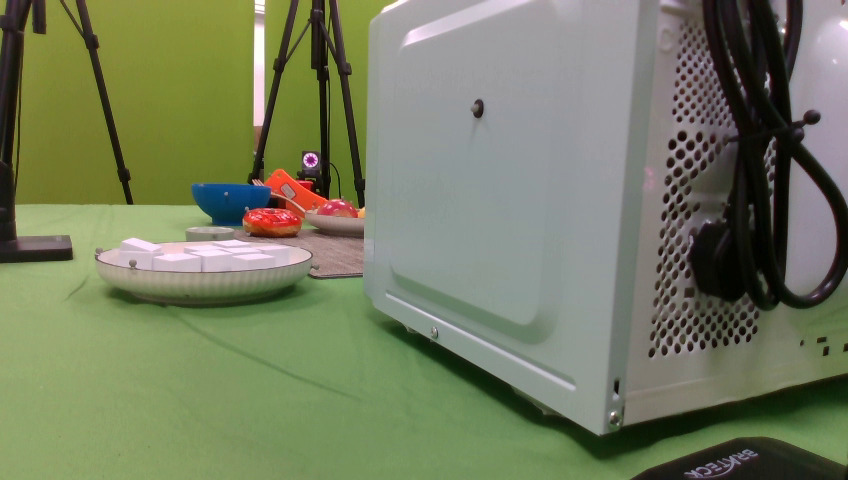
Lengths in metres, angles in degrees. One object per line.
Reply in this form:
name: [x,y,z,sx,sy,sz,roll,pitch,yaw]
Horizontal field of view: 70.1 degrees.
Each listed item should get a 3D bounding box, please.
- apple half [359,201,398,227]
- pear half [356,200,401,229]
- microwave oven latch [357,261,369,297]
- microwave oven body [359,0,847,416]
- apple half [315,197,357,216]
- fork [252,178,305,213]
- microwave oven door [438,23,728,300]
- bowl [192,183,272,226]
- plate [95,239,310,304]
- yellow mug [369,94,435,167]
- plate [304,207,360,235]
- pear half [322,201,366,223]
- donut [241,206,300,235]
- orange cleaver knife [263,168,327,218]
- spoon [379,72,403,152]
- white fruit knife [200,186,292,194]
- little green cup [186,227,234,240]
apple half: [-0.088,-0.058,1.190,0.081,0.033,0.081,9,29,-5]
pear half: [-0.075,-0.046,1.132,0.076,0.056,0.110,13,4,30]
microwave oven latch: [-0.019,0.033,0.530,0.079,0.029,0.030,-1,7,-26]
microwave oven body: [0.211,-0.047,0.474,0.444,0.260,0.324,-1,7,-28]
apple half: [-0.162,-0.052,1.121,0.081,0.053,0.074,4,7,-14]
fork: [-0.295,-0.084,1.292,0.206,0.018,0.028,29,10,25]
microwave oven door: [0.181,-0.072,0.621,0.358,0.243,0.039,-2,8,-29]
bowl: [-0.381,-0.071,1.202,0.151,0.077,0.151,3,7,0]
plate: [-0.224,0.031,0.629,0.208,0.039,0.207,2,8,0]
yellow mug: [-0.041,-0.197,1.049,0.100,0.131,0.063,-27,51,-11]
plate: [-0.123,-0.037,1.149,0.209,0.038,0.209,2,7,0]
pear half: [-0.157,-0.059,1.197,0.088,0.031,0.070,12,30,-4]
donut: [-0.263,-0.032,1.039,0.099,0.048,0.099,4,10,0]
orange cleaver knife: [-0.262,-0.088,1.353,0.211,0.077,0.012,28,13,-1]
spoon: [-0.062,-0.237,1.102,0.021,0.193,0.042,-20,-32,18]
white fruit knife: [-0.399,-0.111,1.368,0.208,0.016,0.027,-4,-19,-30]
little green cup: [-0.284,0.005,0.805,0.061,0.038,0.061,2,8,0]
